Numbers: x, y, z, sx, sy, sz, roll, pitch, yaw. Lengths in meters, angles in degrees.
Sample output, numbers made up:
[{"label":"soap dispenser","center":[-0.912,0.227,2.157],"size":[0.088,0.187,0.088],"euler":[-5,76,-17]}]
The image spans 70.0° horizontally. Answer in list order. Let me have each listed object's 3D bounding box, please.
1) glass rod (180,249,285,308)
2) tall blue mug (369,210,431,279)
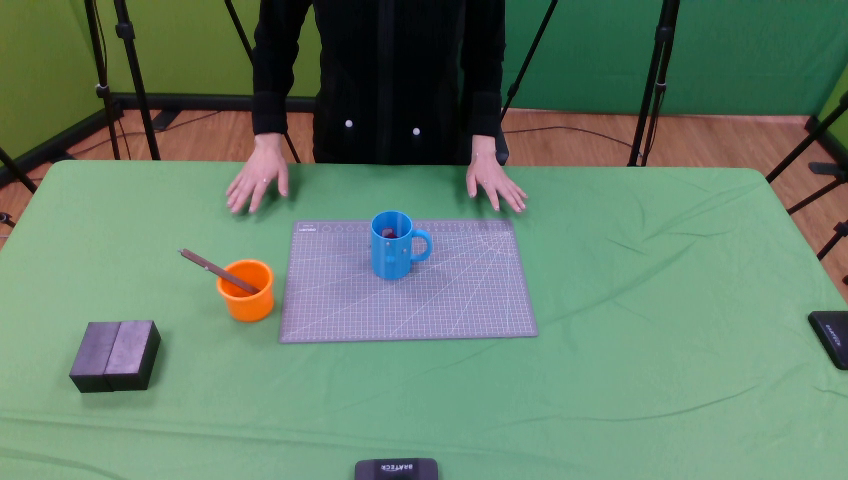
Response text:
[{"label":"glass rod","center":[-0.321,0.068,1.028],"size":[0.200,0.008,0.008],"euler":[34,40,-25]},{"label":"tall blue mug","center":[-0.049,0.005,1.125],"size":[0.107,0.108,0.077],"euler":[-19,50,-21]}]
